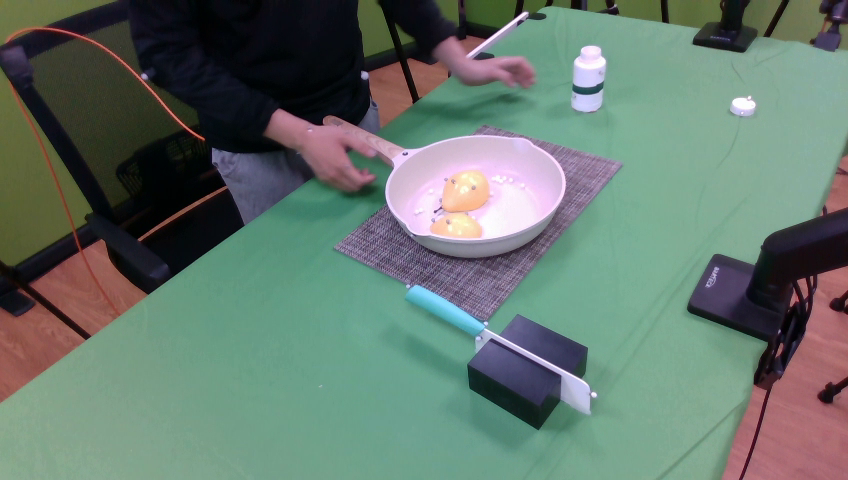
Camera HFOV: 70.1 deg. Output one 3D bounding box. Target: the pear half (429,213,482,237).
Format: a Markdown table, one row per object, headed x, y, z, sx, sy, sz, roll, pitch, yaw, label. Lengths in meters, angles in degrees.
| x | y | z | sx | sy | sz | roll | pitch | yaw | label |
| --- | --- | --- | --- | --- | --- | --- | --- | --- | --- |
| 0.050 | -0.024 | 0.973 | 0.087 | 0.031 | 0.070 | 14 | 41 | 18 | pear half |

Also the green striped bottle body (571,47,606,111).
| x | y | z | sx | sy | sz | roll | pitch | yaw | label |
| --- | --- | --- | --- | --- | --- | --- | --- | --- | --- |
| 0.333 | -0.327 | 1.224 | 0.063 | 0.120 | 0.063 | -4 | 41 | 4 | green striped bottle body |

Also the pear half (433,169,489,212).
| x | y | z | sx | sy | sz | roll | pitch | yaw | label |
| --- | --- | --- | --- | --- | --- | --- | --- | --- | --- |
| 0.057 | -0.083 | 1.024 | 0.110 | 0.056 | 0.075 | -34 | 42 | -25 | pear half |

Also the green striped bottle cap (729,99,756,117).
| x | y | z | sx | sy | sz | roll | pitch | yaw | label |
| --- | --- | --- | --- | --- | --- | --- | --- | --- | --- |
| 0.623 | -0.259 | 1.182 | 0.044 | 0.020 | 0.044 | -4 | 40 | 4 | green striped bottle cap |

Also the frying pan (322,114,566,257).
| x | y | z | sx | sy | sz | roll | pitch | yaw | label |
| --- | --- | --- | --- | --- | --- | --- | --- | --- | --- |
| 0.004 | -0.121 | 1.039 | 0.484 | 0.103 | 0.308 | 31 | 52 | 25 | frying pan |

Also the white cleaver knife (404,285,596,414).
| x | y | z | sx | sy | sz | roll | pitch | yaw | label |
| --- | --- | --- | --- | --- | --- | --- | --- | --- | --- |
| 0.084 | 0.135 | 0.764 | 0.284 | 0.066 | 0.021 | 27 | 46 | 31 | white cleaver knife |
